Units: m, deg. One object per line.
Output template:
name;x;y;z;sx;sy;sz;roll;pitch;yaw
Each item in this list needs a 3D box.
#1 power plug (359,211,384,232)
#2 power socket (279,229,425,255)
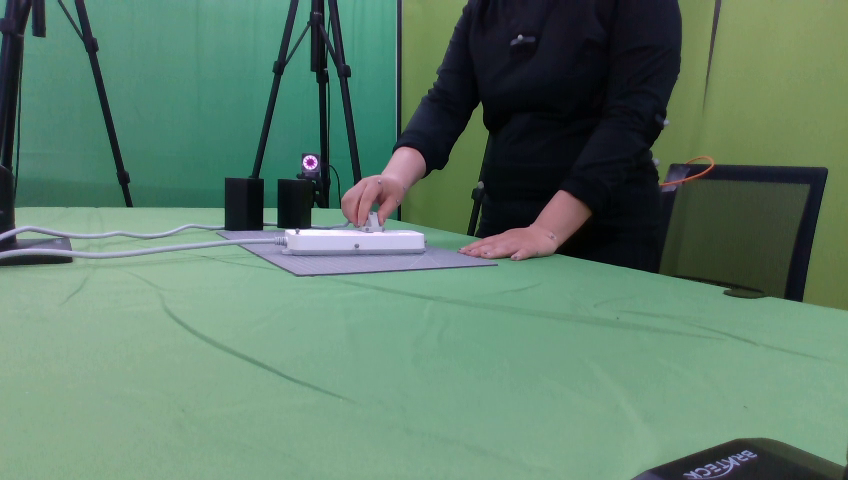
power plug;-0.084;-0.020;0.957;0.035;0.052;0.072;1;5;-10
power socket;-0.106;0.002;0.920;0.228;0.032;0.072;0;7;-22
